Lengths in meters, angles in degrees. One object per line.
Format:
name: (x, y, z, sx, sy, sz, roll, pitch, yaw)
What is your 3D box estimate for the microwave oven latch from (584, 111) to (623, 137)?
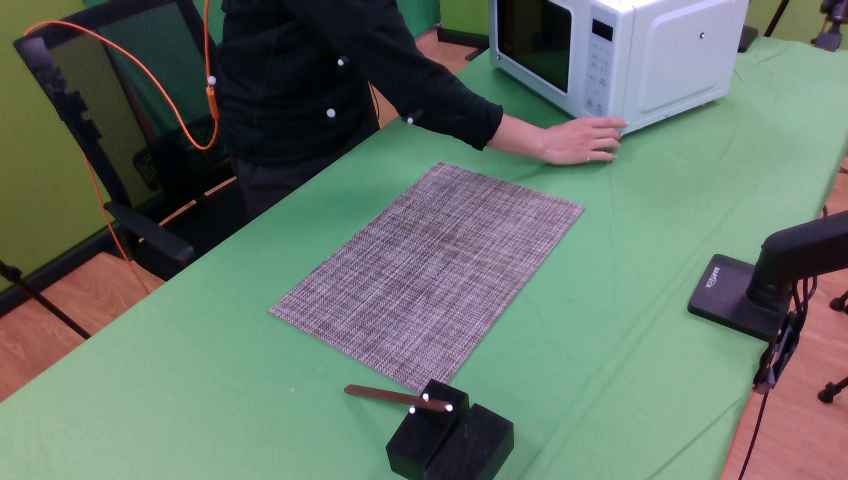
microwave oven latch: (0.337, -0.222, 1.142, 0.030, 0.029, 0.078, -21, 42, -14)

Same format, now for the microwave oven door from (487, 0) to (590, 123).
microwave oven door: (0.232, -0.420, 1.231, 0.039, 0.245, 0.352, -22, 43, -16)

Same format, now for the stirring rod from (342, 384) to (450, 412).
stirring rod: (-0.038, 0.186, 0.714, 0.175, 0.006, 0.014, -3, 22, 43)

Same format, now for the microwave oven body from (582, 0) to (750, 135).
microwave oven body: (0.382, -0.444, 1.246, 0.327, 0.261, 0.437, -22, 42, -16)
